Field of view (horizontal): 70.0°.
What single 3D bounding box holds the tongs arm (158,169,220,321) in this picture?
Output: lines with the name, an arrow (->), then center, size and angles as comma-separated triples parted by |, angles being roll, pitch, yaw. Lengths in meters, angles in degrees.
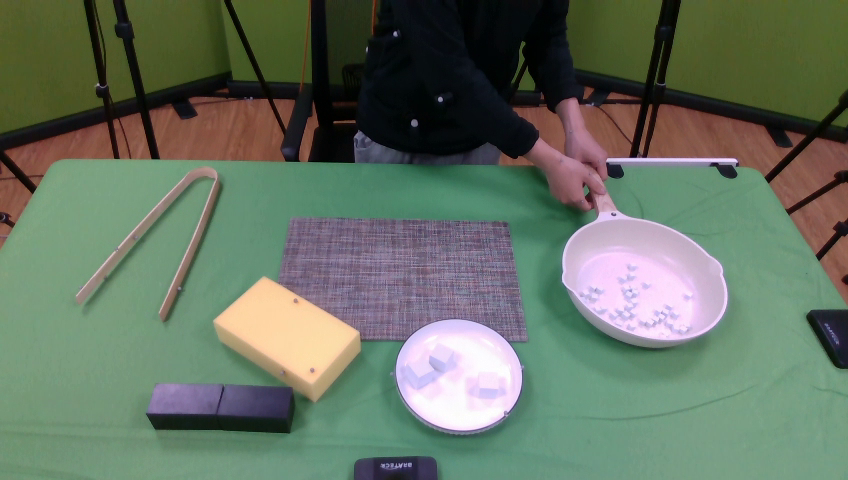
tongs arm -> -0.446, -0.006, 1.164 | 0.028, 0.028, 0.385 | 1, 46, 0

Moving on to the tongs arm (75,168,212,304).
tongs arm -> -0.525, -0.021, 1.167 | 0.051, 0.026, 0.383 | 13, 45, 7

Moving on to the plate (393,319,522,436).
plate -> 0.053, 0.222, 0.978 | 0.208, 0.039, 0.206 | 2, 46, -2

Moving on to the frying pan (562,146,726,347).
frying pan -> 0.378, -0.005, 1.175 | 0.307, 0.103, 0.484 | -4, 55, -10

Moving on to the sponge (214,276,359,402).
sponge -> -0.225, 0.158, 0.998 | 0.206, 0.061, 0.118 | 27, 52, 18
